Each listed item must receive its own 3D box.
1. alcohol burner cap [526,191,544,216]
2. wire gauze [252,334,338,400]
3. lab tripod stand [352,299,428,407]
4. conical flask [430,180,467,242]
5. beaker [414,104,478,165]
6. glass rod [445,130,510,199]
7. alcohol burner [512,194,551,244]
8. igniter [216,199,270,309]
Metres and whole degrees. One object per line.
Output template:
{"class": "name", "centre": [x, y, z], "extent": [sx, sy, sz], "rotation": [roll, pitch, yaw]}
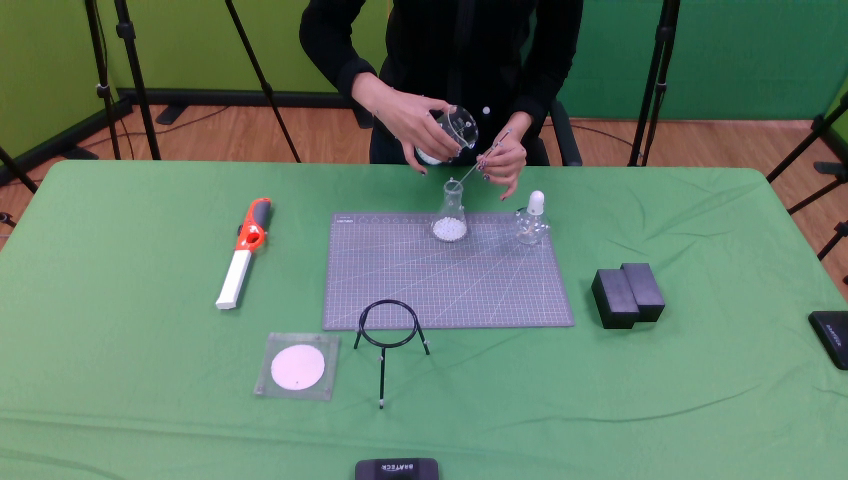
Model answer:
{"class": "alcohol burner cap", "centre": [0.216, -0.073, 1.170], "extent": [0.034, 0.048, 0.033], "rotation": [0, 42, 0]}
{"class": "wire gauze", "centre": [-0.209, 0.204, 0.996], "extent": [0.125, 0.011, 0.120], "rotation": [3, 45, 1]}
{"class": "lab tripod stand", "centre": [-0.056, 0.166, 0.958], "extent": [0.148, 0.132, 0.147], "rotation": [3, 44, -2]}
{"class": "conical flask", "centre": [0.052, -0.060, 1.189], "extent": [0.075, 0.122, 0.075], "rotation": [2, 46, -2]}
{"class": "beaker", "centre": [0.038, -0.184, 1.095], "extent": [0.074, 0.100, 0.084], "rotation": [-17, 81, -48]}
{"class": "glass rod", "centre": [0.095, -0.134, 1.107], "extent": [0.008, 0.200, 0.008], "rotation": [21, 46, -23]}
{"class": "alcohol burner", "centre": [0.215, -0.048, 1.196], "extent": [0.078, 0.119, 0.077], "rotation": [4, 46, -4]}
{"class": "igniter", "centre": [-0.342, 0.016, 1.153], "extent": [0.057, 0.025, 0.275], "rotation": [-3, 45, 7]}
